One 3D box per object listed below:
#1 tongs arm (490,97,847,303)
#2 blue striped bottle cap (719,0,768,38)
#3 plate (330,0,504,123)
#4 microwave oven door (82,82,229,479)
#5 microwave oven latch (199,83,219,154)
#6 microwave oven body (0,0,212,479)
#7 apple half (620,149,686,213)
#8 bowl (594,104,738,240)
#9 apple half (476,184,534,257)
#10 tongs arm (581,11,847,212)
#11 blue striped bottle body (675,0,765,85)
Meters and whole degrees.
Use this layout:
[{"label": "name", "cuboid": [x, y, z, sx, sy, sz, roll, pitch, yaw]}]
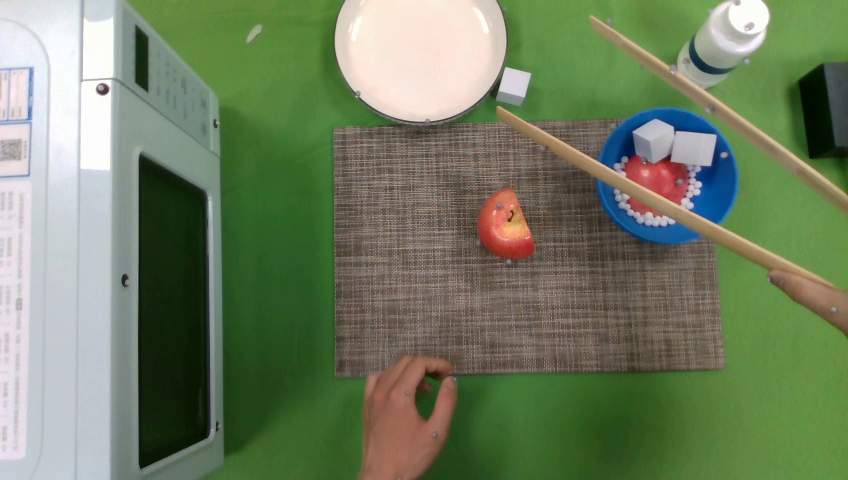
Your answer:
[{"label": "tongs arm", "cuboid": [0.207, -0.048, 0.537, 0.384, 0.028, 0.028, 35, 77, 30]}, {"label": "blue striped bottle cap", "cuboid": [0.336, -0.236, 0.636, 0.044, 0.020, 0.044, 0, 85, 1]}, {"label": "plate", "cuboid": [-0.008, -0.239, 0.737, 0.208, 0.039, 0.207, 0, 83, 1]}, {"label": "microwave oven door", "cuboid": [-0.250, 0.062, 0.584, 0.039, 0.244, 0.354, -4, 83, 1]}, {"label": "microwave oven latch", "cuboid": [-0.258, -0.141, 0.710, 0.030, 0.029, 0.079, -3, 84, 0]}, {"label": "microwave oven body", "cuboid": [-0.399, 0.030, 0.596, 0.326, 0.261, 0.440, -4, 84, 0]}, {"label": "apple half", "cuboid": [0.261, -0.068, 0.681, 0.081, 0.033, 0.081, 0, 82, 1]}, {"label": "bowl", "cuboid": [0.261, -0.069, 0.686, 0.151, 0.077, 0.151, 0, 83, 2]}, {"label": "apple half", "cuboid": [0.086, -0.016, 0.686, 0.053, 0.075, 0.080, -21, 86, 2]}, {"label": "tongs arm", "cuboid": [0.260, -0.099, 0.541, 0.051, 0.027, 0.381, -40, 59, -3]}, {"label": "blue striped bottle body", "cuboid": [0.337, -0.228, 0.686, 0.063, 0.121, 0.063, 0, 82, 2]}]
